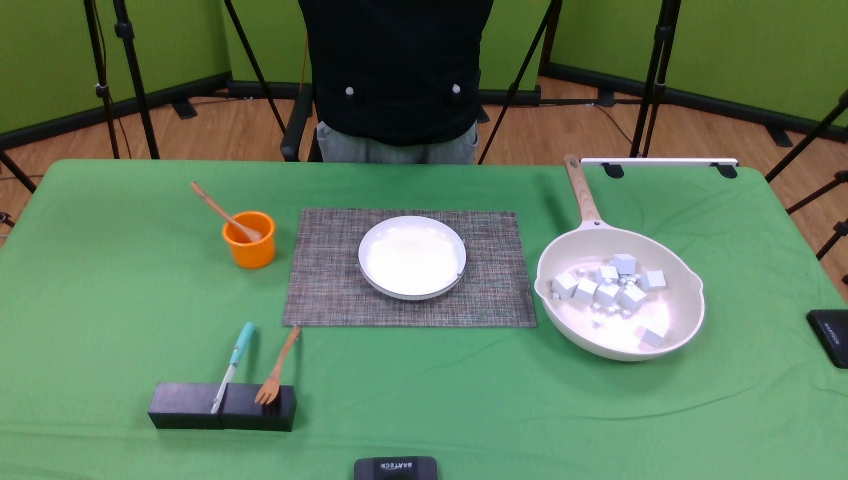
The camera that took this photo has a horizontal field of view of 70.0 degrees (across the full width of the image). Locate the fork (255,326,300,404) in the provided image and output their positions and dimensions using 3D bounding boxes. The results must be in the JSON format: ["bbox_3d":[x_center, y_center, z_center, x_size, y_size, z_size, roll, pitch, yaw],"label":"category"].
[{"bbox_3d":[-0.226,0.192,0.955,0.028,0.019,0.206,0,27,4],"label":"fork"}]

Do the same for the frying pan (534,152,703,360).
[{"bbox_3d":[0.335,0.013,1.154,0.307,0.103,0.484,-1,55,-7],"label":"frying pan"}]

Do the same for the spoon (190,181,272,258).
[{"bbox_3d":[-0.353,-0.037,1.111,0.194,0.021,0.041,42,39,-20],"label":"spoon"}]

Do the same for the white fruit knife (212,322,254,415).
[{"bbox_3d":[-0.298,0.193,0.947,0.016,0.027,0.206,2,31,-1],"label":"white fruit knife"}]

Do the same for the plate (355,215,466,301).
[{"bbox_3d":[-0.025,0.038,1.144,0.208,0.039,0.206,3,46,-2],"label":"plate"}]
